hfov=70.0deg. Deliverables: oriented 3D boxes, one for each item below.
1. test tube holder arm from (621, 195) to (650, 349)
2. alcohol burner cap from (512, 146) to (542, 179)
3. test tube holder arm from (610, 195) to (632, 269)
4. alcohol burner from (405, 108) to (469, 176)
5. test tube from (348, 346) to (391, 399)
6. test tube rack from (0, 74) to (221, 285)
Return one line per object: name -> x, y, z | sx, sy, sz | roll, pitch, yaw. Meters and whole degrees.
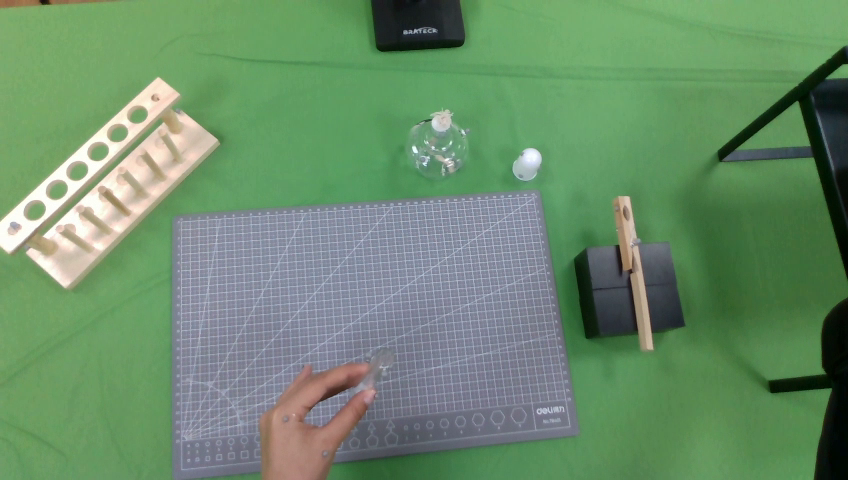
test tube holder arm -> 0.239, 0.034, 0.692 | 0.013, 0.015, 0.177 | 0, 75, -17
alcohol burner cap -> 0.131, -0.099, 0.759 | 0.034, 0.048, 0.033 | 1, 74, -4
test tube holder arm -> 0.230, -0.009, 0.702 | 0.010, 0.015, 0.087 | -1, 75, -17
alcohol burner -> 0.017, -0.122, 0.718 | 0.078, 0.119, 0.077 | 2, 73, -5
test tube -> -0.051, 0.122, 0.543 | 0.017, 0.151, 0.017 | 6, 64, -13
test tube rack -> -0.351, -0.067, 0.688 | 0.066, 0.085, 0.242 | 39, 75, 7
